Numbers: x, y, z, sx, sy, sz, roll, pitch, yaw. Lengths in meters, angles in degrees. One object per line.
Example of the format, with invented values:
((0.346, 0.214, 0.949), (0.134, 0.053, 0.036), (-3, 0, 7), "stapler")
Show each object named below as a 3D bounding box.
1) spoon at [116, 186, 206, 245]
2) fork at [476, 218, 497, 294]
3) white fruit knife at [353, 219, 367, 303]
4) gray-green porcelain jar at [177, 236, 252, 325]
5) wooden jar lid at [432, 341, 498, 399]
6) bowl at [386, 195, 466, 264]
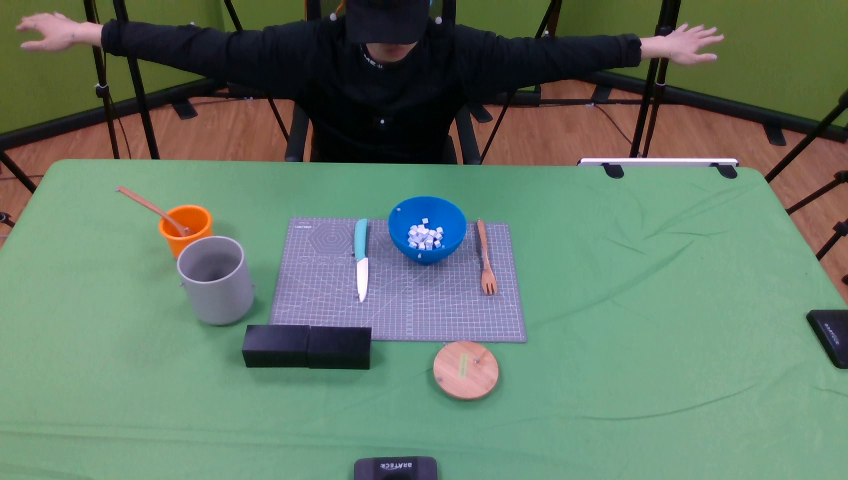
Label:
((-0.474, -0.041, 1.112), (0.021, 0.195, 0.041), (-31, 32, 29), "spoon")
((0.118, 0.027, 1.178), (0.028, 0.019, 0.206), (-4, 48, 1), "fork")
((-0.122, 0.036, 1.153), (0.027, 0.016, 0.206), (-10, 47, 5), "white fruit knife")
((-0.350, 0.073, 1.027), (0.106, 0.127, 0.105), (3, 46, -3), "gray-green porcelain jar")
((0.067, 0.216, 0.997), (0.108, 0.021, 0.107), (1, 46, -1), "wooden jar lid")
((0.002, -0.007, 1.162), (0.151, 0.077, 0.150), (2, 46, -2), "bowl")
